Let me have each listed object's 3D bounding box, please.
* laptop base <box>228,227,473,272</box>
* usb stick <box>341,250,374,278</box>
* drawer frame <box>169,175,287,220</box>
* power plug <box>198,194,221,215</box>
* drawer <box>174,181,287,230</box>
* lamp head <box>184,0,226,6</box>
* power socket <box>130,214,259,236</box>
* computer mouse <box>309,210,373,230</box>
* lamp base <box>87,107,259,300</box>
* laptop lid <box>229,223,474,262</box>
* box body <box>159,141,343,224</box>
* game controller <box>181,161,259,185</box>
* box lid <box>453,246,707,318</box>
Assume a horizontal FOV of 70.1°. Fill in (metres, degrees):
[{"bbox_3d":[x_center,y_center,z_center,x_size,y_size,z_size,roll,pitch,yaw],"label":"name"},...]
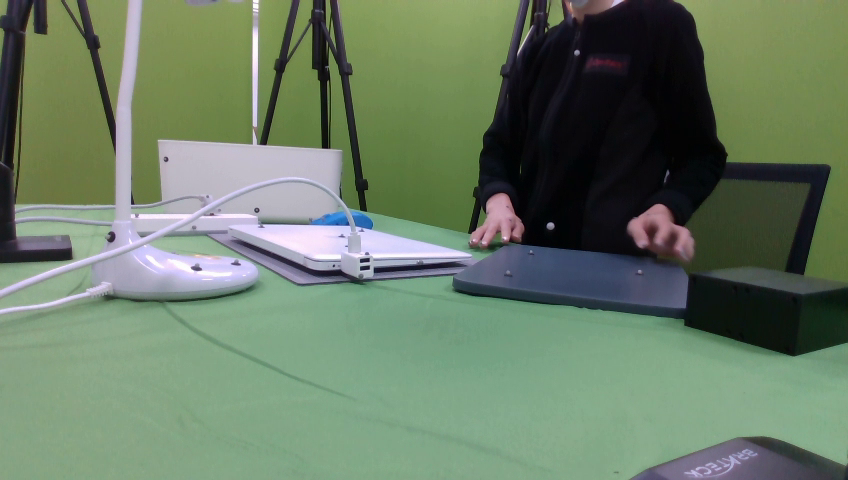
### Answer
[{"bbox_3d":[-0.124,0.011,0.889,0.237,0.023,0.352,2,6,-35],"label":"laptop base"},{"bbox_3d":[-0.078,0.026,0.686,0.021,0.027,0.059,-8,8,-30],"label":"usb stick"},{"bbox_3d":[-0.415,-0.096,1.318,0.214,0.082,0.201,-5,6,-9],"label":"drawer frame"},{"bbox_3d":[-0.386,-0.055,1.088,0.035,0.052,0.072,-2,7,-24],"label":"power plug"},{"bbox_3d":[-0.412,-0.077,1.323,0.212,0.073,0.194,-9,10,-8],"label":"drawer"},{"bbox_3d":[-0.229,-0.320,0.627,0.112,0.112,0.123,6,-36,26],"label":"lamp head"},{"bbox_3d":[-0.397,-0.028,1.048,0.228,0.032,0.072,-3,7,-35],"label":"power socket"},{"bbox_3d":[-0.157,-0.034,1.139,0.118,0.041,0.062,-6,12,-28],"label":"computer mouse"},{"bbox_3d":[-0.254,-0.039,0.603,0.160,0.180,0.179,5,10,18],"label":"lamp base"},{"bbox_3d":[-0.121,-0.001,0.888,0.243,0.013,0.355,1,7,-33],"label":"laptop lid"},{"bbox_3d":[-0.365,-0.128,1.337,0.365,0.160,0.253,2,7,-8],"label":"box body"},{"bbox_3d":[-0.444,-0.144,1.306,0.156,0.051,0.096,-3,5,-34],"label":"game controller"},{"bbox_3d":[0.204,0.044,0.780,0.262,0.015,0.372,5,7,17],"label":"box lid"}]
